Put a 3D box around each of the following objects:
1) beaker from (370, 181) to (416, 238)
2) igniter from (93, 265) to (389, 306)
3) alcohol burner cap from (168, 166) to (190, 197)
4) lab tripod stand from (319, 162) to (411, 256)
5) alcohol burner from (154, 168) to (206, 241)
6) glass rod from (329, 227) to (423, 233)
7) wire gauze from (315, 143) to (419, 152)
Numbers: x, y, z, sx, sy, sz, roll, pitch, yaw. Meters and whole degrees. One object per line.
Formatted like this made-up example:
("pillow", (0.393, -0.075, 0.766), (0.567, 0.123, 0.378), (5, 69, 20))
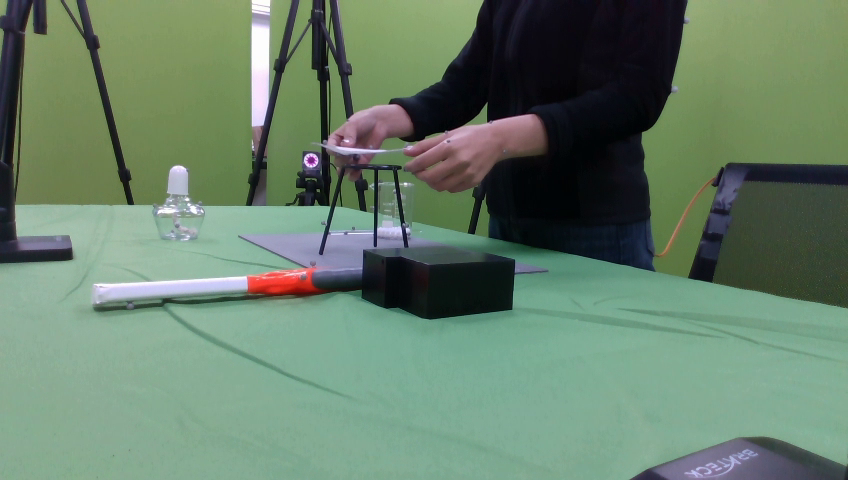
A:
("beaker", (-0.057, -0.056, 1.090), (0.084, 0.100, 0.074), (2, 7, 0))
("igniter", (-0.164, 0.042, 0.589), (0.278, 0.025, 0.057), (-2, -7, -31))
("alcohol burner cap", (-0.392, -0.095, 0.970), (0.034, 0.048, 0.034), (7, 8, -1))
("lab tripod stand", (-0.081, -0.047, 0.879), (0.148, 0.131, 0.148), (2, 9, 0))
("alcohol burner", (-0.393, -0.059, 0.974), (0.078, 0.119, 0.078), (1, 8, 0))
("glass rod", (-0.087, -0.019, 1.148), (0.201, 0.008, 0.008), (-3, 8, -32))
("wire gauze", (-0.089, -0.136, 0.893), (0.122, 0.011, 0.124), (-5, 12, -34))
